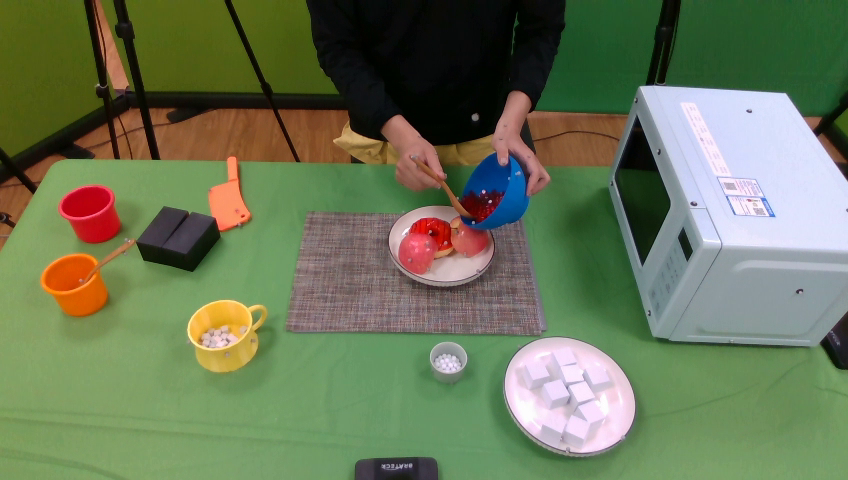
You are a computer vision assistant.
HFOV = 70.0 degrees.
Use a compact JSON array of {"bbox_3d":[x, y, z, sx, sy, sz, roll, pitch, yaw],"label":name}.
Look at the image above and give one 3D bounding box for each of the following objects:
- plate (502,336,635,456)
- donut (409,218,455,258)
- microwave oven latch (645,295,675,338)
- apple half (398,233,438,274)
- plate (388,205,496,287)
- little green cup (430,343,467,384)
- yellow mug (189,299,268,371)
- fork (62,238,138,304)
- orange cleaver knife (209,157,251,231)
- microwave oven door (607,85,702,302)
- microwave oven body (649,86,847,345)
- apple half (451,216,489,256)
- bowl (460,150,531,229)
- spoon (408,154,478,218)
[{"bbox_3d":[0.225,0.248,0.964,0.208,0.039,0.206,2,46,-2],"label":"plate"},{"bbox_3d":[0.019,-0.005,1.174,0.099,0.048,0.098,3,41,-3],"label":"donut"},{"bbox_3d":[0.412,0.134,1.061,0.030,0.029,0.078,3,45,0],"label":"microwave oven latch"},{"bbox_3d":[-0.016,0.022,1.123,0.081,0.033,0.081,-2,83,14],"label":"apple half"},{"bbox_3d":[0.033,0.014,1.171,0.209,0.038,0.208,2,46,-2],"label":"plate"},{"bbox_3d":[0.039,0.203,0.993,0.061,0.039,0.061,2,46,-2],"label":"little green cup"},{"bbox_3d":[-0.316,0.148,1.002,0.131,0.064,0.099,-33,56,-31],"label":"yellow mug"},{"bbox_3d":[-0.547,0.053,1.018,0.207,0.019,0.028,-36,41,23],"label":"fork"},{"bbox_3d":[-0.409,-0.099,1.266,0.077,0.012,0.210,-14,50,-10],"label":"orange cleaver knife"},{"bbox_3d":[0.423,-0.094,1.141,0.039,0.245,0.353,2,46,-1],"label":"microwave oven door"},{"bbox_3d":[0.568,-0.053,1.118,0.326,0.261,0.439,2,45,-1],"label":"microwave oven body"},{"bbox_3d":[0.093,-0.013,1.158,0.075,0.053,0.080,35,40,-27],"label":"apple half"},{"bbox_3d":[0.140,-0.079,1.098,0.077,0.151,0.150,25,40,-25],"label":"bowl"},{"bbox_3d":[0.034,-0.093,1.066,0.021,0.195,0.041,-46,36,0],"label":"spoon"}]
